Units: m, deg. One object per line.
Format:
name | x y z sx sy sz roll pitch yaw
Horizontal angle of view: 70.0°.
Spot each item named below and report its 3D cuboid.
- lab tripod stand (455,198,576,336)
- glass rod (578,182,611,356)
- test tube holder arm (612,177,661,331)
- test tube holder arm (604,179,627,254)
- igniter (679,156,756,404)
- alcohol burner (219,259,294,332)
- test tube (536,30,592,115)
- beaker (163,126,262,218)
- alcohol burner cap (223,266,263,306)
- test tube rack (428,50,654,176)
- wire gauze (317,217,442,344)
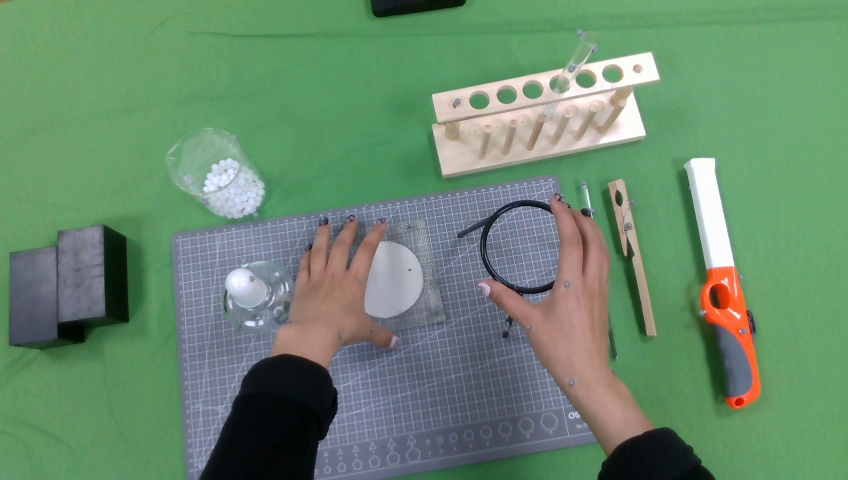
lab tripod stand | 0.091 0.018 0.617 0.148 0.132 0.147 0 77 2
glass rod | 0.192 0.030 0.682 0.008 0.008 0.199 -6 80 -1
test tube holder arm | 0.235 0.014 0.676 0.013 0.015 0.177 -23 72 35
test tube holder arm | 0.222 -0.027 0.690 0.010 0.015 0.087 -20 73 36
igniter | 0.322 0.038 0.668 0.057 0.025 0.275 -2 76 -10
alcohol burner | -0.176 0.053 0.620 0.078 0.120 0.077 -1 74 2
test tube | 0.144 -0.171 0.640 0.017 0.151 0.017 1 74 -5
beaker | -0.226 -0.069 0.661 0.084 0.101 0.073 9 76 4
alcohol burner cap | -0.177 0.042 0.585 0.034 0.048 0.033 0 66 -1
test tube rack | 0.129 -0.140 0.683 0.242 0.085 0.066 -11 76 -2
wire gauze | -0.050 0.043 0.676 0.121 0.011 0.124 -12 80 -3
